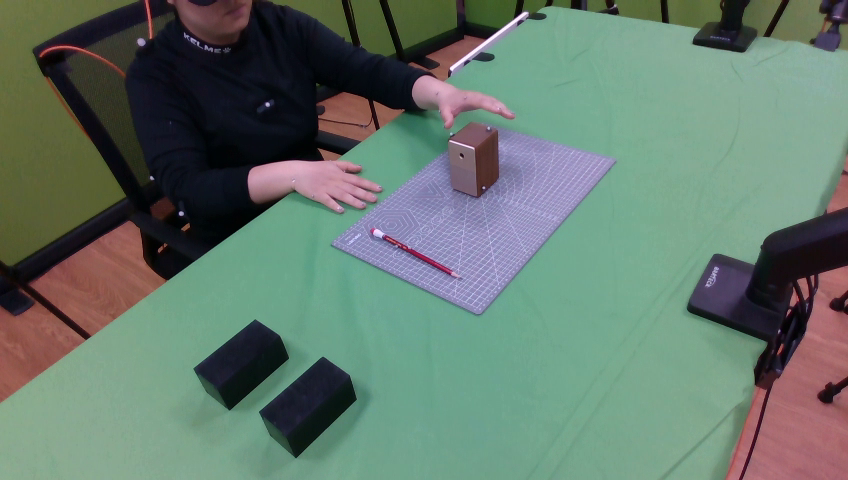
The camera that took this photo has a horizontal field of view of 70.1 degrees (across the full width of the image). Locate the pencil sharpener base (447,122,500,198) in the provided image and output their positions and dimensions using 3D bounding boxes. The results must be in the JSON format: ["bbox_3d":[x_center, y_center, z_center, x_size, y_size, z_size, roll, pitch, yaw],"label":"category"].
[{"bbox_3d":[0.089,-0.140,1.052,0.061,0.107,0.077,22,48,31],"label":"pencil sharpener base"}]

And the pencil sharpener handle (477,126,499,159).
[{"bbox_3d":[0.119,-0.178,1.073,0.035,0.068,0.031,21,47,32],"label":"pencil sharpener handle"}]

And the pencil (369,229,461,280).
[{"bbox_3d":[-0.016,0.022,0.952,0.192,0.012,0.012,27,51,33],"label":"pencil"}]
